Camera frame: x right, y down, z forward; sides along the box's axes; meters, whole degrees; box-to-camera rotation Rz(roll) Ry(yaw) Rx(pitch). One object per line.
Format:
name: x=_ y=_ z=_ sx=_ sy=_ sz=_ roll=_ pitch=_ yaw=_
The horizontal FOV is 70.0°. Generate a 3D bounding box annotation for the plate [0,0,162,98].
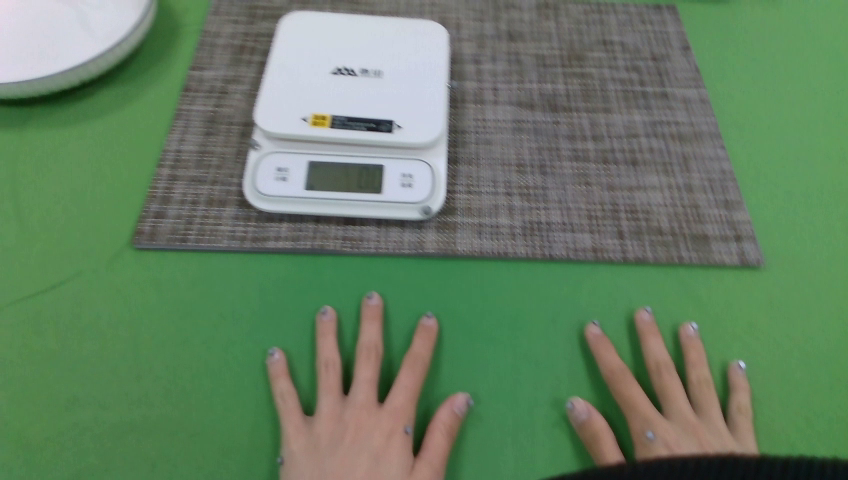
plate: x=-0.335 y=-0.196 z=0.534 sx=0.208 sy=0.039 sz=0.205 roll=1 pitch=56 yaw=-1

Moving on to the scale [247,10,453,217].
scale: x=-0.053 y=-0.108 z=0.485 sx=0.149 sy=0.032 sz=0.199 roll=3 pitch=57 yaw=1
